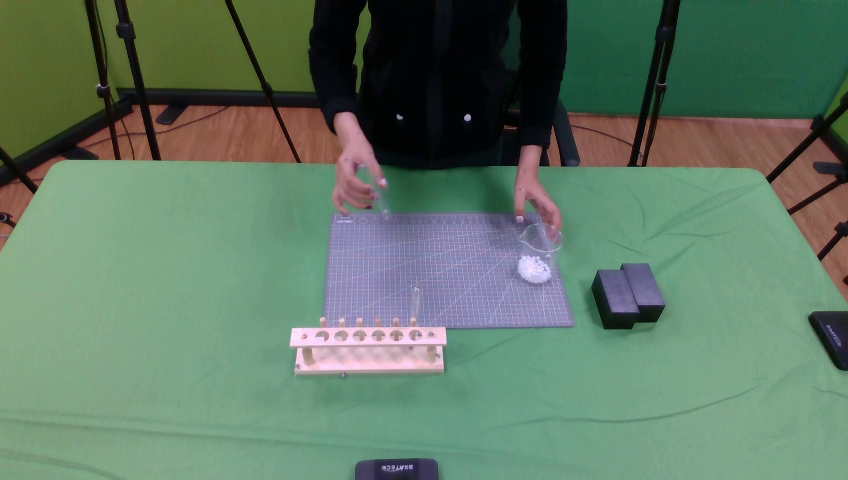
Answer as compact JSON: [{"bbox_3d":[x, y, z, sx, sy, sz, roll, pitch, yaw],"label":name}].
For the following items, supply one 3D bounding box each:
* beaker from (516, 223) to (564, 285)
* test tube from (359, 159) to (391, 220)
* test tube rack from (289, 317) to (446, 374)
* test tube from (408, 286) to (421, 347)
[{"bbox_3d":[0.211,0.029,1.131,0.084,0.101,0.073,-1,46,-4],"label":"beaker"},{"bbox_3d":[-0.081,-0.082,1.025,0.017,0.151,0.017,-7,53,10],"label":"test tube"},{"bbox_3d":[-0.089,0.167,0.987,0.242,0.085,0.066,0,46,-4],"label":"test tube rack"},{"bbox_3d":[-0.016,0.124,0.973,0.017,0.151,0.017,3,46,-2],"label":"test tube"}]
